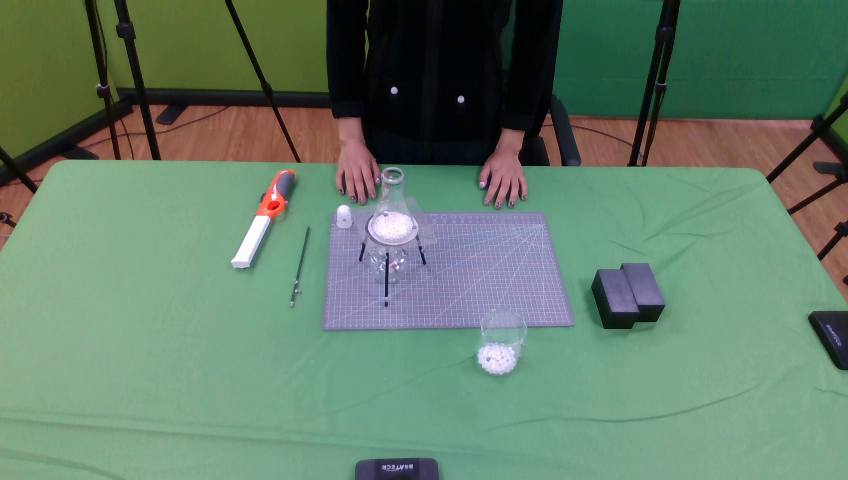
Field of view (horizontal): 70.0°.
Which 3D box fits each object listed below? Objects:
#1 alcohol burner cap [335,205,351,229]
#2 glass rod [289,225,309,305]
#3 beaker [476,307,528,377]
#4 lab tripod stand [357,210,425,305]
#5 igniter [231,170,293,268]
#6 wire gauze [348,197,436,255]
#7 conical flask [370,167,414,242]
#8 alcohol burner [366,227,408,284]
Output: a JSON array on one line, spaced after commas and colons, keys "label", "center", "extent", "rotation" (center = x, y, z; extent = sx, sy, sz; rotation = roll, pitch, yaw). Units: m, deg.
[{"label": "alcohol burner cap", "center": [-0.164, -0.049, 1.216], "extent": [0.034, 0.048, 0.033], "rotation": [2, 45, -2]}, {"label": "glass rod", "center": [-0.235, 0.043, 1.149], "extent": [0.008, 0.008, 0.198], "rotation": [3, 46, -1]}, {"label": "beaker", "center": [0.122, 0.171, 0.991], "extent": [0.084, 0.101, 0.073], "rotation": [-34, 56, -30]}, {"label": "lab tripod stand", "center": [-0.060, 0.020, 1.094], "extent": [0.148, 0.132, 0.147], "rotation": [3, 44, -2]}, {"label": "igniter", "center": [-0.321, -0.051, 1.220], "extent": [0.057, 0.025, 0.275], "rotation": [2, 45, 11]}, {"label": "wire gauze", "center": [-0.056, -0.025, 1.046], "extent": [0.125, 0.011, 0.120], "rotation": [-14, 46, -15]}, {"label": "conical flask", "center": [-0.053, -0.062, 1.000], "extent": [0.075, 0.122, 0.075], "rotation": [2, 44, -2]}, {"label": "alcohol burner", "center": [-0.068, 0.024, 1.104], "extent": [0.078, 0.120, 0.077], "rotation": [1, 46, -1]}]
